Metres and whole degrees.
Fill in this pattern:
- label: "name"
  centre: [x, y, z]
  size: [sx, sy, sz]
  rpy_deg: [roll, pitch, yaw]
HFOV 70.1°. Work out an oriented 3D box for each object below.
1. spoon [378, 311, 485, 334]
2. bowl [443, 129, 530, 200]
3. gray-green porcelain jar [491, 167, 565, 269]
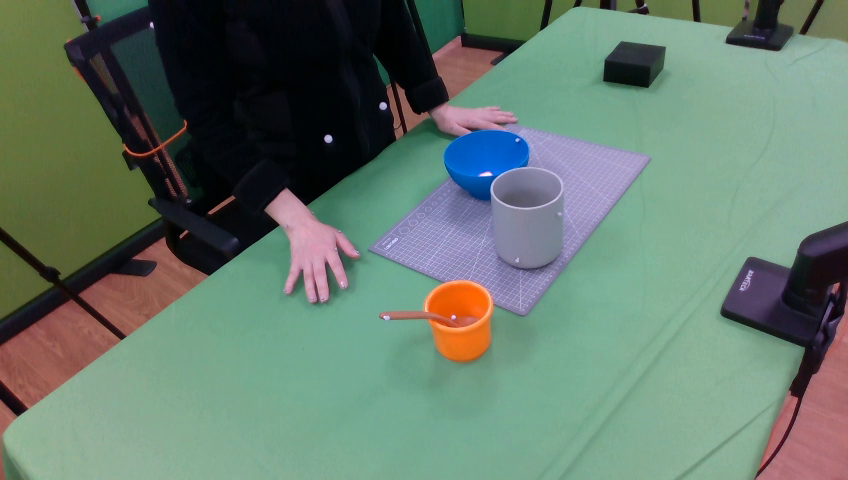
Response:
- label: "spoon"
  centre: [0.012, 0.101, 0.767]
  size: [0.041, 0.195, 0.021]
  rpy_deg: [34, 101, 41]
- label: "bowl"
  centre: [0.113, -0.123, 1.063]
  size: [0.151, 0.077, 0.150]
  rpy_deg: [-6, 40, 5]
- label: "gray-green porcelain jar"
  centre: [0.157, -0.029, 0.904]
  size: [0.106, 0.127, 0.105]
  rpy_deg: [-6, 40, 5]
